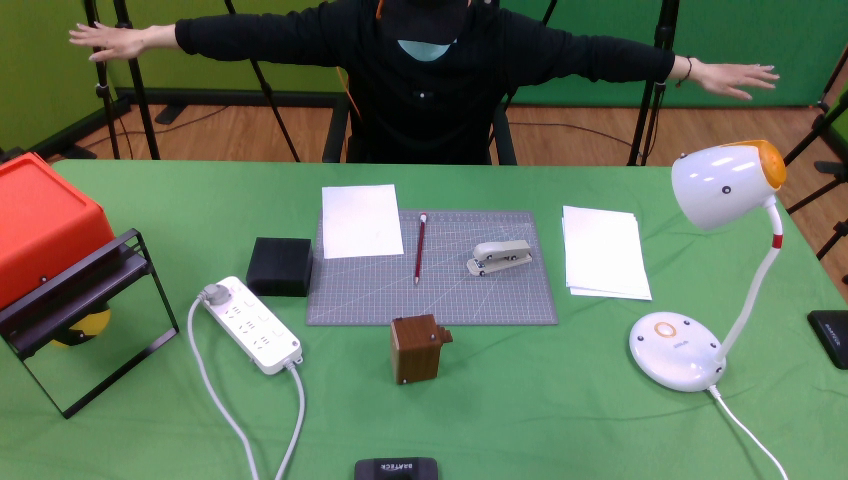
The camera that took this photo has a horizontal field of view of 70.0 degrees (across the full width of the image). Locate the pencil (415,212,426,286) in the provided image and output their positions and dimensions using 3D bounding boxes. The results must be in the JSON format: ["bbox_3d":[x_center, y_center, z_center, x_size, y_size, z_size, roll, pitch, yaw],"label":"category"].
[{"bbox_3d":[-0.007,0.014,1.190,0.012,0.012,0.193,5,47,1],"label":"pencil"}]

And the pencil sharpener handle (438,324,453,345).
[{"bbox_3d":[0.036,0.155,0.976,0.031,0.068,0.036,-8,69,-11],"label":"pencil sharpener handle"}]

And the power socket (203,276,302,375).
[{"bbox_3d":[-0.297,0.141,1.034,0.072,0.033,0.225,-34,58,-30],"label":"power socket"}]

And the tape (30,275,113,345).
[{"bbox_3d":[-0.594,0.117,1.021,0.117,0.053,0.116,2,45,-2],"label":"tape"}]

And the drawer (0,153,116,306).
[{"bbox_3d":[-0.601,-0.015,0.880,0.193,0.073,0.211,32,53,23],"label":"drawer"}]

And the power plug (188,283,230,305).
[{"bbox_3d":[-0.368,0.099,1.037,0.072,0.053,0.035,-24,52,-25],"label":"power plug"}]

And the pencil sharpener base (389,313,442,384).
[{"bbox_3d":[-0.013,0.175,0.971,0.077,0.107,0.061,-8,47,-11],"label":"pencil sharpener base"}]

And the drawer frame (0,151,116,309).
[{"bbox_3d":[-0.604,-0.013,0.876,0.201,0.083,0.213,31,52,23],"label":"drawer frame"}]

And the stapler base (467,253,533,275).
[{"bbox_3d":[0.147,0.034,1.171,0.131,0.024,0.041,-12,50,-18],"label":"stapler base"}]

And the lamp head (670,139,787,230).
[{"bbox_3d":[0.415,-0.079,0.812,0.113,0.123,0.112,12,70,-37],"label":"lamp head"}]

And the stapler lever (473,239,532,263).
[{"bbox_3d":[0.150,0.017,1.155,0.118,0.040,0.026,-13,50,-17],"label":"stapler lever"}]

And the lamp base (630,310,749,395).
[{"bbox_3d":[0.447,0.142,0.984,0.161,0.181,0.178,-24,55,-24],"label":"lamp base"}]
